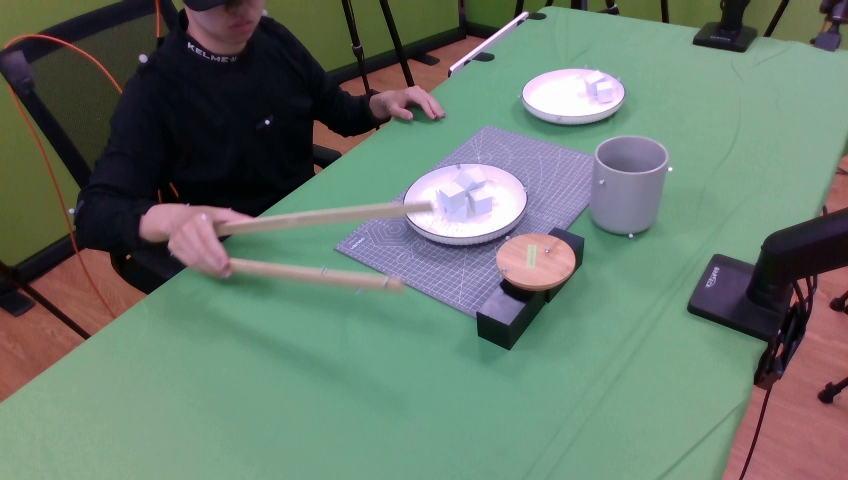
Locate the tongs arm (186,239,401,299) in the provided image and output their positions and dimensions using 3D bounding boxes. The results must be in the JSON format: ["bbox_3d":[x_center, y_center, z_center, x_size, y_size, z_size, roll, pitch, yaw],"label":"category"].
[{"bbox_3d":[-0.195,0.037,0.850,0.382,0.027,0.050,4,51,26],"label":"tongs arm"}]

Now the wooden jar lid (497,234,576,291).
[{"bbox_3d":[0.155,0.032,0.834,0.108,0.021,0.108,-5,40,5],"label":"wooden jar lid"}]

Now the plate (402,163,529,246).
[{"bbox_3d":[0.069,-0.056,1.008,0.209,0.038,0.208,-4,40,4],"label":"plate"}]

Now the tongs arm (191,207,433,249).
[{"bbox_3d":[-0.173,-0.020,0.897,0.386,0.028,0.028,-5,51,17],"label":"tongs arm"}]

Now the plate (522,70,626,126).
[{"bbox_3d":[0.308,-0.290,1.251,0.207,0.039,0.206,-4,40,4],"label":"plate"}]

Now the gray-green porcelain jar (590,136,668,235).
[{"bbox_3d":[0.314,-0.080,0.937,0.106,0.127,0.105,-4,41,4],"label":"gray-green porcelain jar"}]
